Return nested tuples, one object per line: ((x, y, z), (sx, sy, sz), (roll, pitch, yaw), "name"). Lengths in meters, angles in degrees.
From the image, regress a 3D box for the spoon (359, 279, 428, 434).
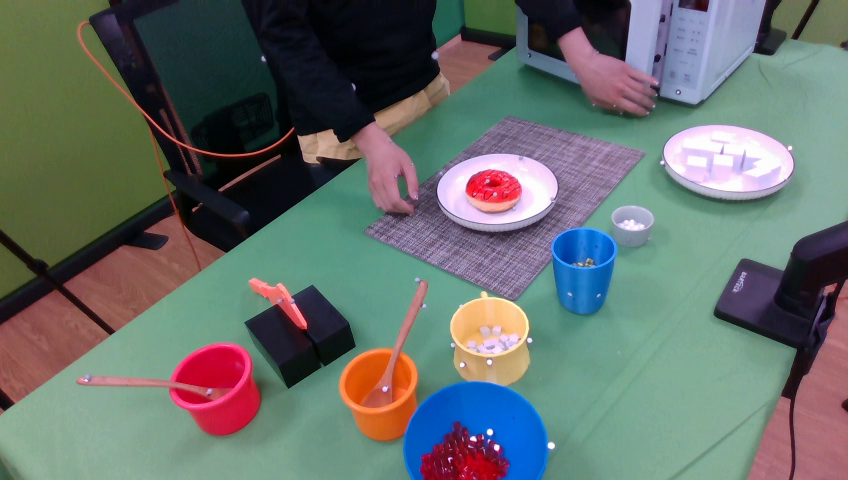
((-0.032, 0.138, 0.719), (0.041, 0.193, 0.022), (22, 4, 30), "spoon")

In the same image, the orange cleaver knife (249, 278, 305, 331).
((-0.210, 0.088, 0.856), (0.012, 0.077, 0.210), (-28, 15, -25), "orange cleaver knife")

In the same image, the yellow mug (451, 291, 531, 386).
((0.085, 0.120, 0.786), (0.100, 0.064, 0.130), (-7, 39, 1), "yellow mug")

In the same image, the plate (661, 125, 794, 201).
((0.513, -0.128, 1.035), (0.207, 0.039, 0.206), (-4, 40, 4), "plate")

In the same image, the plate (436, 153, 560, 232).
((0.125, -0.078, 1.029), (0.209, 0.038, 0.208), (-4, 40, 4), "plate")

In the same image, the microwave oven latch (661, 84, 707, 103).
((0.516, -0.296, 1.204), (0.078, 0.029, 0.030), (25, 50, 33), "microwave oven latch")

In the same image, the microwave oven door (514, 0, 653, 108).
((0.320, -0.438, 1.244), (0.039, 0.245, 0.352), (-31, 46, -25), "microwave oven door")

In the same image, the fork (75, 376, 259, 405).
((-0.296, 0.176, 0.716), (0.209, 0.018, 0.028), (19, 28, -36), "fork")

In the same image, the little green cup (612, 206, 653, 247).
((0.321, -0.019, 0.936), (0.061, 0.039, 0.061), (-4, 41, 4), "little green cup")

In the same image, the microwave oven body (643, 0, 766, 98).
((0.472, -0.513, 1.317), (0.438, 0.261, 0.327), (26, 51, 34), "microwave oven body")

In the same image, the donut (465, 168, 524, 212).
((0.119, -0.084, 1.021), (0.099, 0.048, 0.098), (-3, 39, 3), "donut")

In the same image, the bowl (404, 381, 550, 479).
((0.058, 0.235, 0.645), (0.151, 0.077, 0.150), (-4, 39, 4), "bowl")

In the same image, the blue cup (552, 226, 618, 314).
((0.218, 0.047, 0.826), (0.092, 0.101, 0.092), (-6, 40, 5), "blue cup")
